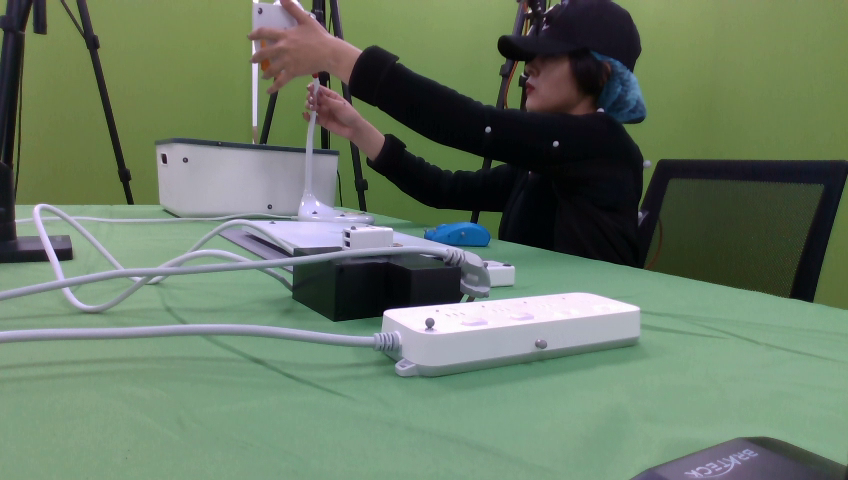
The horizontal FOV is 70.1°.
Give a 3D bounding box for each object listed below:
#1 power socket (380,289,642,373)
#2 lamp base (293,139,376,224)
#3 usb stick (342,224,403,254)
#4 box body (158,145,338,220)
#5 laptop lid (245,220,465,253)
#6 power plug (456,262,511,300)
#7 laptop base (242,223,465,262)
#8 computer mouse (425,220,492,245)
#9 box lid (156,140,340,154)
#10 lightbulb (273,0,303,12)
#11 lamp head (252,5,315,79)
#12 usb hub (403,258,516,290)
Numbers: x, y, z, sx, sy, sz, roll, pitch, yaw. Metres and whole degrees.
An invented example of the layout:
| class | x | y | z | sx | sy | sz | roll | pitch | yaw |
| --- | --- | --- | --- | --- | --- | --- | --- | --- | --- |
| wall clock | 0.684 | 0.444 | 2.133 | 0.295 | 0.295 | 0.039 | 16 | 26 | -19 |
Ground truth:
| class | x | y | z | sx | sy | sz | roll | pitch | yaw |
| --- | --- | --- | --- | --- | --- | --- | --- | --- | --- |
| power socket | 0.072 | 0.064 | 0.461 | 0.228 | 0.032 | 0.072 | -2 | 8 | -30 |
| lamp base | -0.193 | -0.121 | 1.257 | 0.179 | 0.180 | 0.161 | -1 | 6 | 7 |
| usb stick | -0.047 | -0.001 | 0.567 | 0.059 | 0.027 | 0.021 | 0 | 5 | -32 |
| box body | -0.410 | -0.139 | 1.414 | 0.366 | 0.160 | 0.253 | -3 | 8 | -33 |
| laptop lid | -0.124 | -0.009 | 0.945 | 0.243 | 0.013 | 0.355 | 1 | 7 | -29 |
| power plug | 0.052 | 0.051 | 0.543 | 0.035 | 0.052 | 0.072 | 6 | 38 | -20 |
| laptop base | -0.126 | 0.003 | 0.946 | 0.237 | 0.023 | 0.352 | 2 | 6 | -31 |
| computer mouse | 0.060 | -0.013 | 1.060 | 0.117 | 0.041 | 0.062 | -2 | 10 | -6 |
| box lid | -0.409 | -0.213 | 1.404 | 0.373 | 0.015 | 0.262 | -2 | 8 | -32 |
| lightbulb | -0.251 | -0.379 | 1.091 | 0.059 | 0.107 | 0.059 | 15 | 12 | -3 |
| lamp head | -0.257 | -0.357 | 1.103 | 0.112 | 0.123 | 0.112 | 5 | 17 | -1 |
| usb hub | 0.042 | 0.038 | 0.690 | 0.126 | 0.025 | 0.049 | -2 | 10 | -30 |
